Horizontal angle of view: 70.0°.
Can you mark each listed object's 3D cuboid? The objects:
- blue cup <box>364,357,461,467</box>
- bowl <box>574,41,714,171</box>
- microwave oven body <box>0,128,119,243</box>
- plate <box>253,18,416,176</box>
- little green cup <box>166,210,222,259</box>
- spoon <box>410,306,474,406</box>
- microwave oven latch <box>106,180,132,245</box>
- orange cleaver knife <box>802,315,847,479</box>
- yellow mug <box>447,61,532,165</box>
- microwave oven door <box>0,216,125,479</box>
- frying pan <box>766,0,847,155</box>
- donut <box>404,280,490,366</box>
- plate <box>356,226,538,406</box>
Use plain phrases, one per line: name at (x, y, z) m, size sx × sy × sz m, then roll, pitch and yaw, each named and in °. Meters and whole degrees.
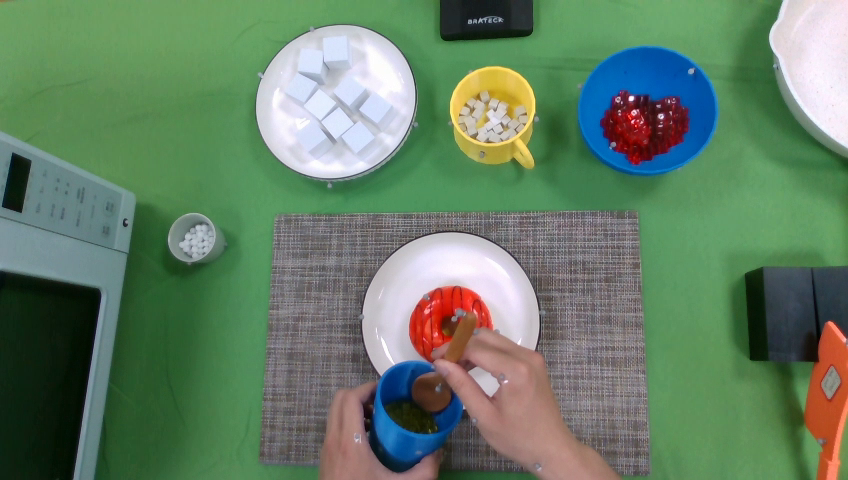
blue cup at (-0.020, 0.179, 0.604) m, size 0.093 × 0.101 × 0.091 m, roll 11°, pitch 48°, yaw -12°
bowl at (0.247, -0.144, 0.706) m, size 0.151 × 0.077 × 0.151 m, roll -1°, pitch 80°, yaw 7°
microwave oven body at (-0.560, 0.115, 0.655) m, size 0.325 × 0.261 × 0.440 m, roll 3°, pitch 81°, yaw 7°
plate at (-0.111, -0.179, 0.773) m, size 0.207 × 0.039 × 0.207 m, roll -1°, pitch 80°, yaw 6°
little green cup at (-0.286, -0.005, 0.761) m, size 0.061 × 0.039 × 0.061 m, roll -1°, pitch 81°, yaw 6°
spoon at (0.017, 0.108, 0.538) m, size 0.041 × 0.195 × 0.021 m, roll 28°, pitch 58°, yaw 6°
microwave oven latch at (-0.390, -0.035, 0.760) m, size 0.030 × 0.029 × 0.079 m, roll 6°, pitch 82°, yaw 7°
orange cleaver knife at (0.413, 0.183, 0.628) m, size 0.012 × 0.077 × 0.212 m, roll -1°, pitch 109°, yaw 7°
yellow mug at (0.089, -0.143, 0.729) m, size 0.100 × 0.064 × 0.130 m, roll -37°, pitch 79°, yaw 0°
microwave oven door at (-0.419, 0.163, 0.626) m, size 0.039 × 0.245 × 0.354 m, roll 3°, pitch 80°, yaw 7°
frying pan at (0.524, -0.118, 0.656) m, size 0.306 × 0.103 × 0.485 m, roll 5°, pitch 73°, yaw 8°
donut at (0.026, 0.094, 0.694) m, size 0.099 × 0.048 × 0.099 m, roll -1°, pitch 84°, yaw 8°
plate at (0.026, 0.088, 0.707) m, size 0.209 × 0.038 × 0.208 m, roll -1°, pitch 81°, yaw 6°
